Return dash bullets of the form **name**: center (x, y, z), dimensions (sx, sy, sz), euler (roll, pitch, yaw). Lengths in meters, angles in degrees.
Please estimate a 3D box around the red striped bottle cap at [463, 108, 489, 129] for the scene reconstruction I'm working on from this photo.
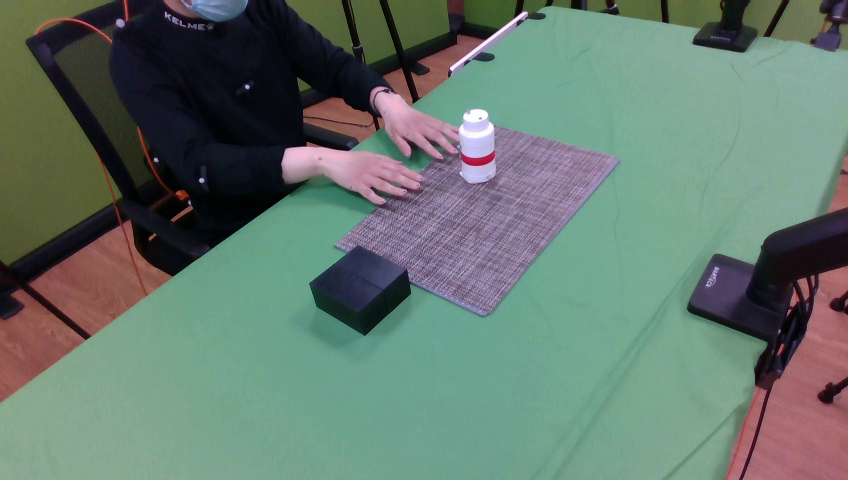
- **red striped bottle cap**: center (0.089, -0.208, 1.034), dimensions (0.044, 0.018, 0.044), euler (-5, 43, 5)

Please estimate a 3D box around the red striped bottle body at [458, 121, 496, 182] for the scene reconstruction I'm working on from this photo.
- **red striped bottle body**: center (0.094, -0.167, 1.068), dimensions (0.063, 0.120, 0.062), euler (-5, 41, 4)
